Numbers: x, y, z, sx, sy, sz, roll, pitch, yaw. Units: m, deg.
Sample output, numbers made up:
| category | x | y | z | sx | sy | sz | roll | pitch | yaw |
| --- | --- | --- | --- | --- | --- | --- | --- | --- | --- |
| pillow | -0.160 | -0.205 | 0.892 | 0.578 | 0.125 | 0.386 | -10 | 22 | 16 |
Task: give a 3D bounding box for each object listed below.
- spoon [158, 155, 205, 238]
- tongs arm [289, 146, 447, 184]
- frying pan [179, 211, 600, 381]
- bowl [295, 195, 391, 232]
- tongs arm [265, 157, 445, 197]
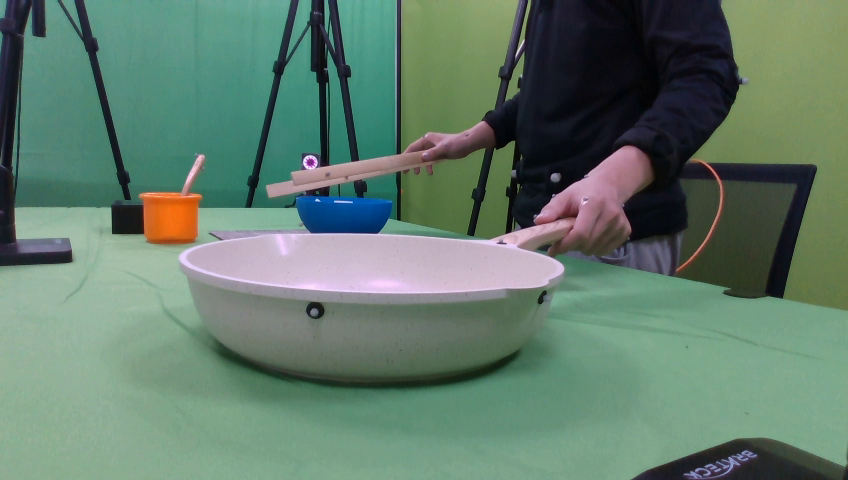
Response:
| category | x | y | z | sx | sy | sz | roll | pitch | yaw |
| --- | --- | --- | --- | --- | --- | --- | --- | --- | --- |
| spoon | -0.392 | -0.076 | 0.998 | 0.041 | 0.193 | 0.021 | 1 | -36 | 6 |
| tongs arm | -0.091 | -0.150 | 1.180 | 0.389 | 0.027 | 0.028 | -16 | -2 | -40 |
| frying pan | 0.034 | 0.019 | 0.557 | 0.305 | 0.102 | 0.490 | 11 | 19 | 44 |
| bowl | -0.127 | -0.028 | 0.946 | 0.151 | 0.077 | 0.151 | 3 | 7 | 0 |
| tongs arm | -0.131 | -0.142 | 1.245 | 0.386 | 0.026 | 0.050 | -15 | 1 | -28 |
